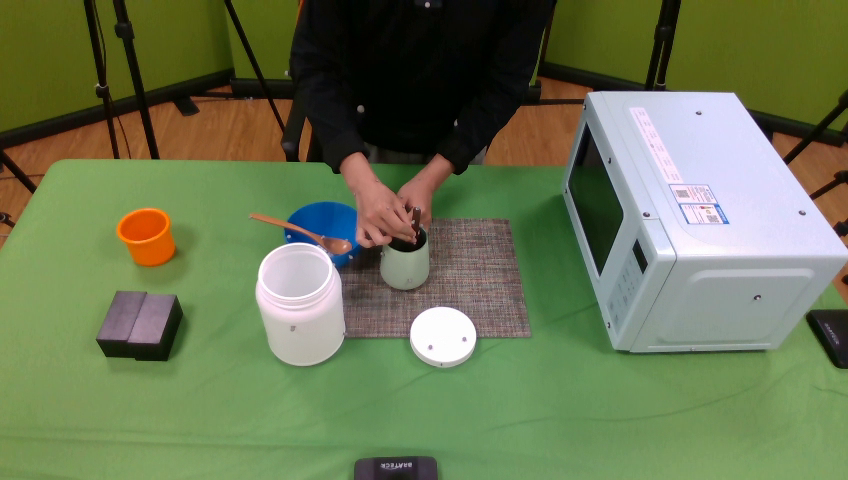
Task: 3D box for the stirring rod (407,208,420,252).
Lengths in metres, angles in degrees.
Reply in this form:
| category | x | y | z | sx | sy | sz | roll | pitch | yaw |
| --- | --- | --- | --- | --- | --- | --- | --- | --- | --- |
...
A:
| category | x | y | z | sx | sy | sz | roll | pitch | yaw |
| --- | --- | --- | --- | --- | --- | --- | --- | --- | --- |
| stirring rod | -0.020 | 0.000 | 1.077 | 0.014 | 0.177 | 0.006 | 21 | 54 | 9 |

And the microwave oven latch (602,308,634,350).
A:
| category | x | y | z | sx | sy | sz | roll | pitch | yaw |
| --- | --- | --- | --- | --- | --- | --- | --- | --- | --- |
| microwave oven latch | 0.332 | 0.153 | 1.044 | 0.030 | 0.029 | 0.078 | -1 | 45 | -4 |

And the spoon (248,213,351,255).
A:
| category | x | y | z | sx | sy | sz | roll | pitch | yaw |
| --- | --- | --- | --- | --- | --- | --- | --- | --- | --- |
| spoon | -0.228 | -0.014 | 1.113 | 0.194 | 0.022 | 0.041 | 23 | 40 | -15 |

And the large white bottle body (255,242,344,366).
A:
| category | x | y | z | sx | sy | sz | roll | pitch | yaw |
| --- | --- | --- | --- | --- | --- | --- | --- | --- | --- |
| large white bottle body | -0.196 | 0.102 | 0.967 | 0.131 | 0.185 | 0.130 | 2 | 49 | -2 |

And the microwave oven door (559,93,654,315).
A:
| category | x | y | z | sx | sy | sz | roll | pitch | yaw |
| --- | --- | --- | --- | --- | --- | --- | --- | --- | --- |
| microwave oven door | 0.327 | -0.074 | 1.123 | 0.039 | 0.245 | 0.353 | -1 | 46 | -5 |

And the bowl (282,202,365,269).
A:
| category | x | y | z | sx | sy | sz | roll | pitch | yaw |
| --- | --- | --- | --- | --- | --- | --- | --- | --- | --- |
| bowl | -0.186 | 0.006 | 1.136 | 0.151 | 0.077 | 0.150 | 3 | 46 | -3 |

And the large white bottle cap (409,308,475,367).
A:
| category | x | y | z | sx | sy | sz | roll | pitch | yaw |
| --- | --- | --- | --- | --- | --- | --- | --- | --- | --- |
| large white bottle cap | 0.031 | 0.165 | 1.041 | 0.115 | 0.018 | 0.114 | 2 | 47 | -2 |

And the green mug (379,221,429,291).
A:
| category | x | y | z | sx | sy | sz | roll | pitch | yaw |
| --- | --- | --- | --- | --- | --- | --- | --- | --- | --- |
| green mug | -0.044 | 0.020 | 1.116 | 0.092 | 0.105 | 0.124 | -20 | 51 | -22 |

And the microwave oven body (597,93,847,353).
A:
| category | x | y | z | sx | sy | sz | roll | pitch | yaw |
| --- | --- | --- | --- | --- | --- | --- | --- | --- | --- |
| microwave oven body | 0.475 | -0.041 | 1.110 | 0.326 | 0.261 | 0.438 | -1 | 45 | -4 |
